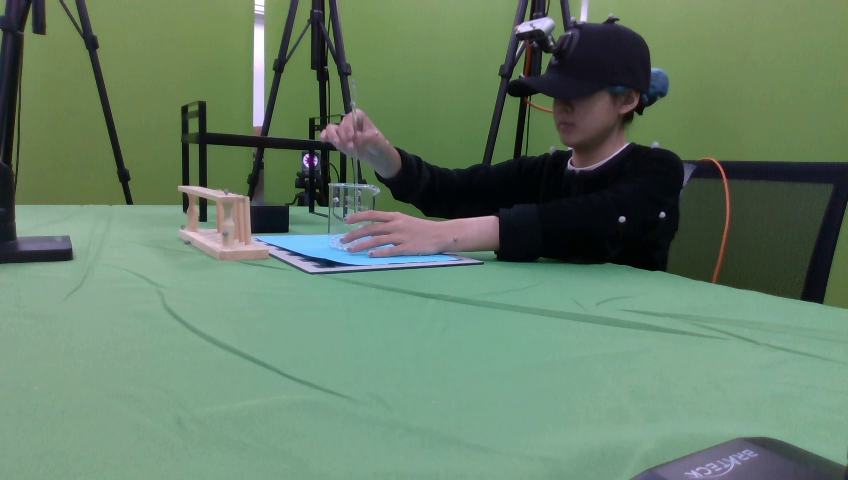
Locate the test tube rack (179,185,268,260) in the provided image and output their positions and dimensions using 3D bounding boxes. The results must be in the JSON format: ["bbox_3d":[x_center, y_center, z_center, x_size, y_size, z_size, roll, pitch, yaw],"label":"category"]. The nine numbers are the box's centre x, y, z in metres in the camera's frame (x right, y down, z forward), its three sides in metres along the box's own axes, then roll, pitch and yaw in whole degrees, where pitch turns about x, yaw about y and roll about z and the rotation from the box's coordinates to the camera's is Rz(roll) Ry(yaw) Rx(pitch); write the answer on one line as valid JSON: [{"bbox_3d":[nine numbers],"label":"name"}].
[{"bbox_3d":[-0.303,-0.031,0.898,0.067,0.085,0.241,-2,9,-33],"label":"test tube rack"}]

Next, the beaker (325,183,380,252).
[{"bbox_3d":[-0.109,-0.035,0.921,0.084,0.100,0.074,5,8,15],"label":"beaker"}]

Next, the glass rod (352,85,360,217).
[{"bbox_3d":[-0.104,-0.134,0.921,0.008,0.199,0.008,-1,4,0],"label":"glass rod"}]
